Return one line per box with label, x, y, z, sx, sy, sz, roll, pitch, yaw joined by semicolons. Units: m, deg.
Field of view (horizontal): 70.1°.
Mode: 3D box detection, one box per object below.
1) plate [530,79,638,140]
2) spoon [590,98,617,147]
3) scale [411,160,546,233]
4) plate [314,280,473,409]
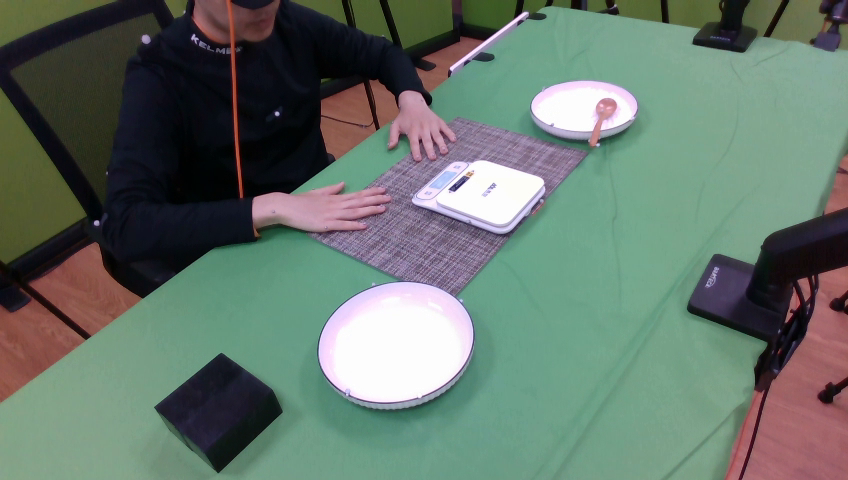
plate;0.317;-0.257;1.210;0.209;0.038;0.208;-4;41;4
spoon;0.334;-0.225;1.145;0.041;0.022;0.194;11;37;20
scale;0.092;-0.083;1.039;0.199;0.032;0.149;22;48;30
plate;-0.039;0.139;0.801;0.207;0.039;0.206;-4;41;4
